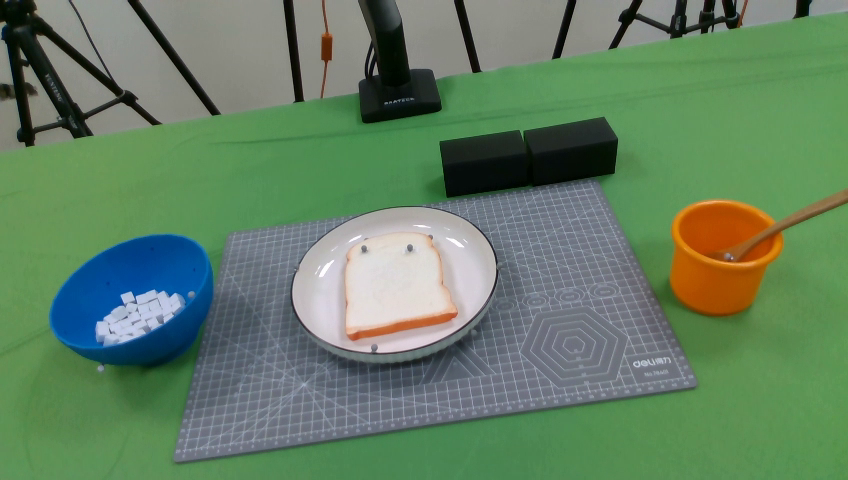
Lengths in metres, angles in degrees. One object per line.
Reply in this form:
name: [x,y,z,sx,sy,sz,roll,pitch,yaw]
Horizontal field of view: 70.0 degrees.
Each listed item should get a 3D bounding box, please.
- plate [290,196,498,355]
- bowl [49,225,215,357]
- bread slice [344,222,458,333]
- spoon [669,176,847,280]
plate: [-0.029,0.035,0.614,0.209,0.038,0.207,-5,43,5]
bowl: [-0.273,0.063,0.602,0.151,0.077,0.150,-5,43,5]
bread slice: [-0.032,0.033,0.619,0.107,0.018,0.133,-14,44,-4]
spoon: [0.303,-0.014,0.529,0.022,0.194,0.041,32,43,-21]
